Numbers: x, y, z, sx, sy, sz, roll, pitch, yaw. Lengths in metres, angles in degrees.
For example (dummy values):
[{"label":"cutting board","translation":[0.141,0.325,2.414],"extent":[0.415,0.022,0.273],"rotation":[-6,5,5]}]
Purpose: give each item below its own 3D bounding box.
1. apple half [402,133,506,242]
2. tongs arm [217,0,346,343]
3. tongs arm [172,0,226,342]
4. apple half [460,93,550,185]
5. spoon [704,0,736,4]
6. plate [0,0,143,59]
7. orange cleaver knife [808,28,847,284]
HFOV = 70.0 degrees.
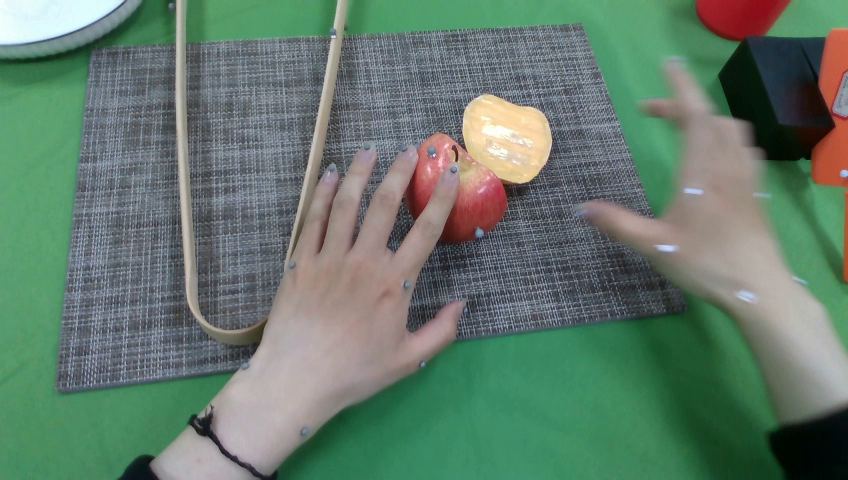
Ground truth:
[{"label":"apple half","translation":[0.014,-0.030,0.447],"extent":[0.080,0.075,0.053],"rotation":[42,70,12]},{"label":"tongs arm","translation":[-0.103,-0.103,0.496],"extent":[0.051,0.027,0.381],"rotation":[5,63,-4]},{"label":"tongs arm","translation":[-0.188,-0.101,0.488],"extent":[0.028,0.028,0.384],"rotation":[-7,64,-13]},{"label":"apple half","translation":[0.061,-0.077,0.499],"extent":[0.081,0.033,0.081],"rotation":[4,75,-14]},{"label":"spoon","translation":[0.357,-0.259,0.563],"extent":[0.022,0.193,0.041],"rotation":[48,52,-32]},{"label":"plate","translation":[-0.346,-0.235,0.539],"extent":[0.209,0.038,0.207],"rotation":[3,62,-4]},{"label":"orange cleaver knife","translation":[0.344,-0.071,0.496],"extent":[0.012,0.077,0.211],"rotation":[-1,95,-6]}]
